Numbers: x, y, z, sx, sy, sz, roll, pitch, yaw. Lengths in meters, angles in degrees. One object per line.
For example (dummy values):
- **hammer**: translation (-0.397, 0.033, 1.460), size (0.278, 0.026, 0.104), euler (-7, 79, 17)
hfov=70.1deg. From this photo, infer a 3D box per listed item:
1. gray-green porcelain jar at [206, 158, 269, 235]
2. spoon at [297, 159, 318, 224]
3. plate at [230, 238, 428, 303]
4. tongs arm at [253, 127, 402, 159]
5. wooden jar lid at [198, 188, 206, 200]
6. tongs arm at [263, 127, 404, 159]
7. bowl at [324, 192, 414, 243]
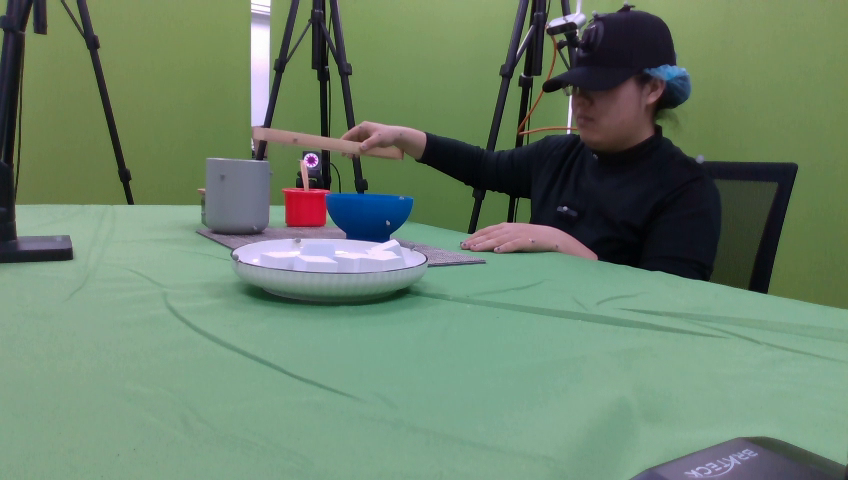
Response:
- **gray-green porcelain jar**: translation (-0.322, -0.076, 1.048), size (0.106, 0.126, 0.106), euler (3, 7, 0)
- **spoon**: translation (-0.244, -0.103, 1.251), size (0.042, 0.021, 0.193), euler (2, 51, -18)
- **plate**: translation (-0.099, 0.032, 0.651), size (0.209, 0.038, 0.209), euler (3, 8, 0)
- **tongs arm**: translation (-0.206, -0.220, 1.392), size (0.387, 0.026, 0.050), euler (1, 5, -45)
- **wooden jar lid**: translation (-0.382, -0.088, 1.175), size (0.108, 0.020, 0.108), euler (3, 8, 0)
- **tongs arm**: translation (-0.186, -0.217, 1.369), size (0.390, 0.027, 0.028), euler (1, 1, -43)
- **bowl**: translation (-0.094, -0.037, 1.015), size (0.151, 0.077, 0.151), euler (3, 7, 0)
